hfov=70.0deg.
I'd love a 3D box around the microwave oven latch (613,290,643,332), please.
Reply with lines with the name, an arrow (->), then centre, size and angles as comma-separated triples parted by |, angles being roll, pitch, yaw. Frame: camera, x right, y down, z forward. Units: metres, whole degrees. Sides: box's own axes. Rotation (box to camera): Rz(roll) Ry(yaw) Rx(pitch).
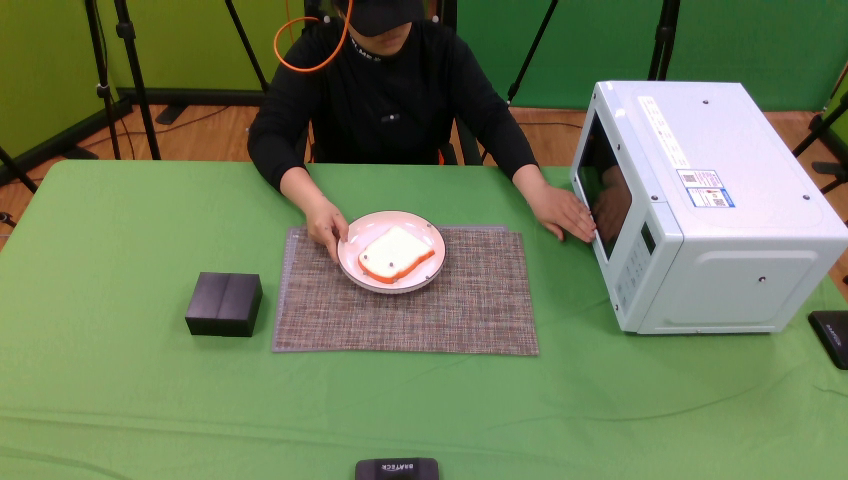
microwave oven latch -> 0.357, 0.124, 1.068 | 0.030, 0.029, 0.078 | 0, 45, -3

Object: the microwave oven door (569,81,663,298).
microwave oven door -> 0.353, -0.103, 1.147 | 0.039, 0.245, 0.353 | 0, 46, -4

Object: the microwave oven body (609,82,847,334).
microwave oven body -> 0.501, -0.069, 1.132 | 0.326, 0.261, 0.438 | -1, 45, -3

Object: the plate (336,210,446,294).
plate -> -0.062, 0.026, 1.153 | 0.209, 0.038, 0.208 | 3, 46, -2

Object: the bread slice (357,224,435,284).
bread slice -> -0.059, 0.029, 1.153 | 0.104, 0.019, 0.131 | 34, 53, 26
